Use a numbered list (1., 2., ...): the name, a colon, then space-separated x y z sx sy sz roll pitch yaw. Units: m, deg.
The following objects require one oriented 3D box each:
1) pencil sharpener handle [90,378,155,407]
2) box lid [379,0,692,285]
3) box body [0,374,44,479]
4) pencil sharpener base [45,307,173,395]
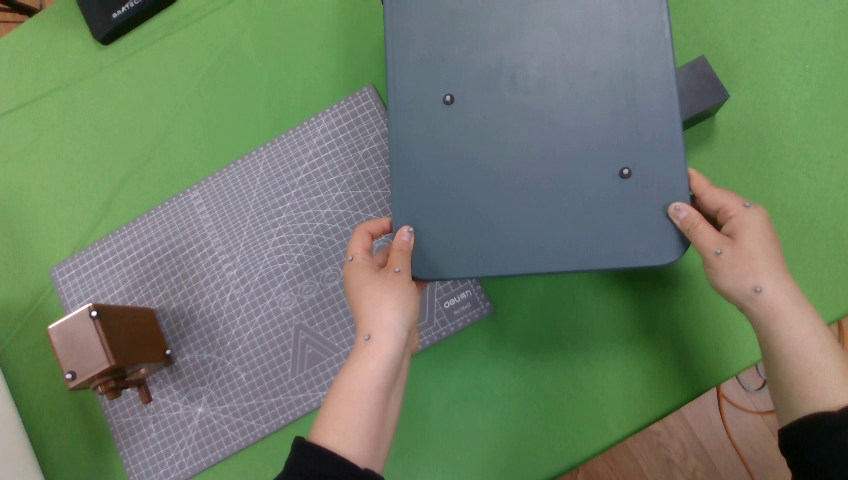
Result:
1. pencil sharpener handle: -0.306 0.161 0.623 0.036 0.068 0.030 -31 78 11
2. box lid: 0.092 -0.150 0.559 0.263 0.015 0.370 -5 82 7
3. box body: -0.577 0.268 0.638 0.254 0.161 0.362 -32 78 3
4. pencil sharpener base: -0.330 0.120 0.645 0.061 0.107 0.076 -29 78 3
